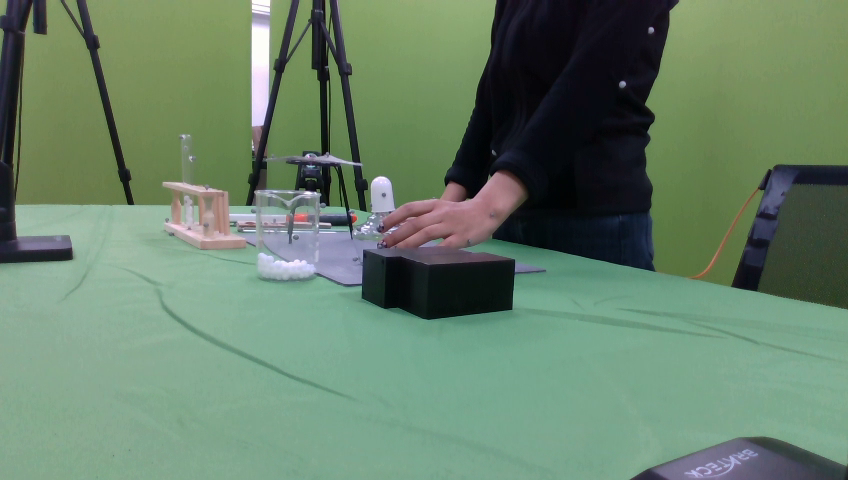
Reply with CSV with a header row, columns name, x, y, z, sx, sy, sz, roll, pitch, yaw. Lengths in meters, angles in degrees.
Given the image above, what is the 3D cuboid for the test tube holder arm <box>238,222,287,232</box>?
name,x,y,z,sx,sy,sz,roll,pitch,yaw
test tube holder arm,-0.297,-0.024,1.114,0.088,0.015,0.010,-3,48,-33

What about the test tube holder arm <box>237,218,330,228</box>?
name,x,y,z,sx,sy,sz,roll,pitch,yaw
test tube holder arm,-0.262,-0.031,1.142,0.179,0.015,0.013,-5,49,-34

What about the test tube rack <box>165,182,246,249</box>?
name,x,y,z,sx,sy,sz,roll,pitch,yaw
test tube rack,-0.360,-0.045,0.982,0.067,0.085,0.241,-3,9,-34

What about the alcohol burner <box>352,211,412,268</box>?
name,x,y,z,sx,sy,sz,roll,pitch,yaw
alcohol burner,-0.055,-0.023,0.784,0.078,0.119,0.078,2,9,0

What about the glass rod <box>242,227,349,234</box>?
name,x,y,z,sx,sy,sz,roll,pitch,yaw
glass rod,-0.232,-0.016,1.110,0.201,0.008,0.008,2,6,-30

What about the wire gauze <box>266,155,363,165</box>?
name,x,y,z,sx,sy,sz,roll,pitch,yaw
wire gauze,-0.185,-0.136,1.016,0.126,0.011,0.121,-4,11,-34

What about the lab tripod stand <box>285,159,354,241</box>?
name,x,y,z,sx,sy,sz,roll,pitch,yaw
lab tripod stand,-0.187,-0.068,1.013,0.148,0.131,0.148,4,9,0

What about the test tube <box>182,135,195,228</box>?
name,x,y,z,sx,sy,sz,roll,pitch,yaw
test tube,-0.382,-0.095,0.983,0.017,0.150,0.017,-1,2,0

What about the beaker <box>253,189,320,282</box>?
name,x,y,z,sx,sy,sz,roll,pitch,yaw
beaker,-0.156,-0.005,0.689,0.074,0.100,0.083,0,8,-14

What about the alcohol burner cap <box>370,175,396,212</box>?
name,x,y,z,sx,sy,sz,roll,pitch,yaw
alcohol burner cap,-0.055,-0.059,0.778,0.034,0.048,0.034,-7,10,2

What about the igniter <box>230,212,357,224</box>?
name,x,y,z,sx,sy,sz,roll,pitch,yaw
igniter,-0.271,-0.044,1.232,0.278,0.025,0.057,-2,-2,-27
